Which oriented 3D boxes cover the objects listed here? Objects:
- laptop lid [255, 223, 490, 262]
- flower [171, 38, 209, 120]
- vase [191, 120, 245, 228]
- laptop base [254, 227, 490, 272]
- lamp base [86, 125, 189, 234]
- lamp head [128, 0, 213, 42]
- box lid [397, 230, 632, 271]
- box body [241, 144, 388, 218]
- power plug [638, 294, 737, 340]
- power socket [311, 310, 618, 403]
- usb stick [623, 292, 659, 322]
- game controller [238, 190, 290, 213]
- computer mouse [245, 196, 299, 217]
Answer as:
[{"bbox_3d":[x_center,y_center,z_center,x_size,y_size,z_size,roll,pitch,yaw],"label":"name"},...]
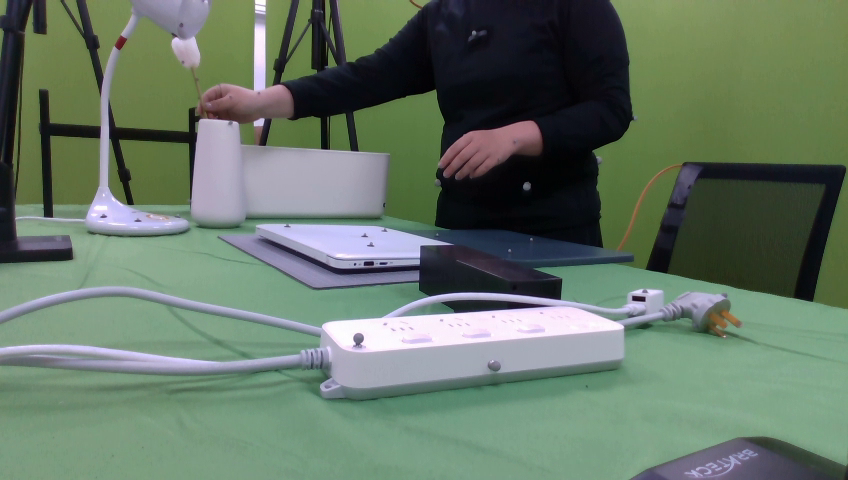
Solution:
[{"bbox_3d":[-0.093,0.000,0.911,0.243,0.013,0.355,1,7,-30],"label":"laptop lid"},{"bbox_3d":[-0.402,-0.206,1.138,0.044,0.361,0.038,-17,3,-13],"label":"flower"},{"bbox_3d":[-0.389,-0.124,1.142,0.098,0.200,0.098,3,9,0],"label":"vase"},{"bbox_3d":[-0.096,0.012,0.910,0.237,0.023,0.352,2,7,-32],"label":"laptop base"},{"bbox_3d":[-0.497,-0.105,1.027,0.179,0.180,0.160,1,7,2],"label":"lamp base"},{"bbox_3d":[-0.423,-0.394,0.980,0.123,0.112,0.112,20,7,-3],"label":"lamp head"},{"bbox_3d":[0.140,0.012,1.044,0.265,0.015,0.369,-1,9,-32],"label":"box lid"},{"bbox_3d":[-0.297,-0.143,1.474,0.366,0.160,0.253,-1,9,-30],"label":"box body"},{"bbox_3d":[0.235,0.077,0.535,0.072,0.035,0.052,-34,39,-6],"label":"power plug"},{"bbox_3d":[0.034,0.074,0.415,0.228,0.032,0.072,-1,7,-24],"label":"power socket"},{"bbox_3d":[0.211,0.064,0.581,0.021,0.027,0.059,-2,-3,36],"label":"usb stick"},{"bbox_3d":[-0.391,-0.094,1.465,0.097,0.051,0.154,-4,7,-29],"label":"game controller"},{"bbox_3d":[-0.344,-0.077,1.368,0.118,0.041,0.062,-12,16,-30],"label":"computer mouse"}]
